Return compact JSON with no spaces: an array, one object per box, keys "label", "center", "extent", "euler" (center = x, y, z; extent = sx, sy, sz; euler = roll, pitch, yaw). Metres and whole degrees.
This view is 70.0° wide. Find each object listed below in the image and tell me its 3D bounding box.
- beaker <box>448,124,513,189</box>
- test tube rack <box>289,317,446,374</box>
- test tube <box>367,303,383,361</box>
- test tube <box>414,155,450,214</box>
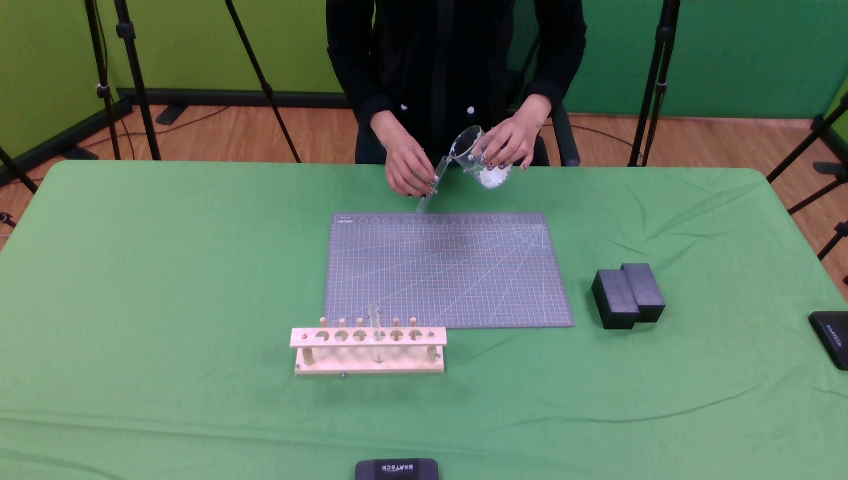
[{"label":"beaker","center":[0.103,-0.145,1.089],"extent":[0.101,0.084,0.073],"euler":[39,39,-27]},{"label":"test tube rack","center":[-0.089,0.167,0.987],"extent":[0.242,0.085,0.066],"euler":[0,46,-4]},{"label":"test tube","center":[-0.075,0.146,0.941],"extent":[0.017,0.151,0.017],"euler":[0,49,0]},{"label":"test tube","center":[0.013,-0.102,1.143],"extent":[0.017,0.151,0.017],"euler":[15,46,-16]}]
